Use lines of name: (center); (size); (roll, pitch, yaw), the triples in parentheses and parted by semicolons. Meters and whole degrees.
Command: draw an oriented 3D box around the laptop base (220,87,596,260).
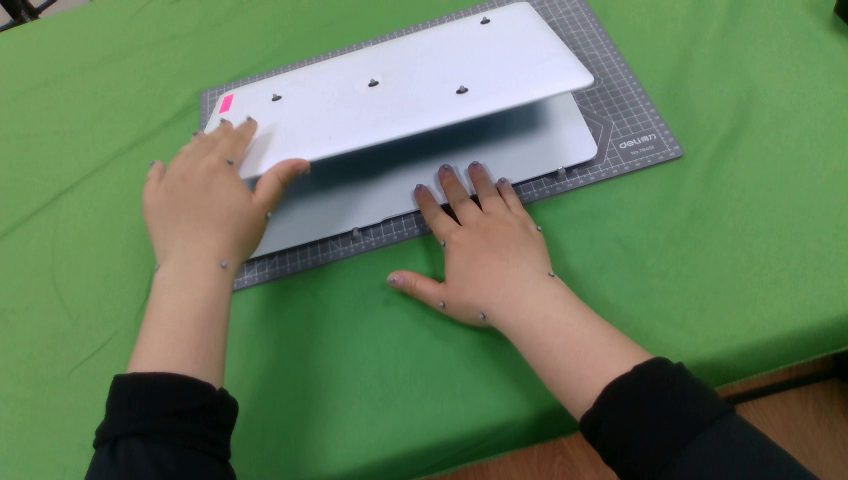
laptop base: (-0.036, -0.118, 0.607); (0.354, 0.023, 0.233); (-16, 57, 3)

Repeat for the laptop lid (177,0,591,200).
laptop lid: (-0.048, -0.148, 0.572); (0.356, 0.013, 0.239); (-15, 37, 5)
